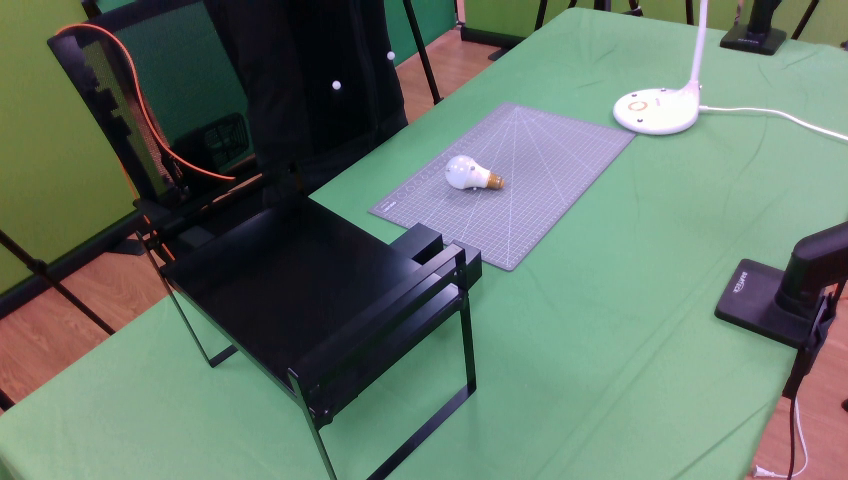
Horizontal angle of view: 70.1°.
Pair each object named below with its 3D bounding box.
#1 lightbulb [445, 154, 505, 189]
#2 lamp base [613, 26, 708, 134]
[{"bbox_3d":[0.090,-0.115,1.071,0.107,0.059,0.059,17,44,4],"label":"lightbulb"},{"bbox_3d":[0.463,-0.316,1.153,0.179,0.181,0.159,-5,41,-1],"label":"lamp base"}]
